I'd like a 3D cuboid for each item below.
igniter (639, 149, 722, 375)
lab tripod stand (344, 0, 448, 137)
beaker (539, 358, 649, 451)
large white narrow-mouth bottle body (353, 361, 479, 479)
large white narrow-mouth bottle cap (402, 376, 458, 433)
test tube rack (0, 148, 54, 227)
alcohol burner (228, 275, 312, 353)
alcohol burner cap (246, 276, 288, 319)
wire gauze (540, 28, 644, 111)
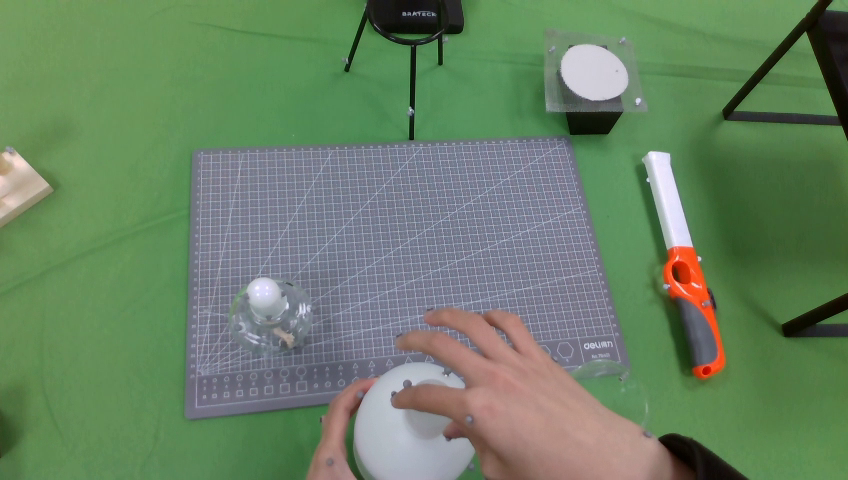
[{"bbox_3d":[0.293,0.017,0.696,0.057,0.025,0.274,3,66,-18],"label":"igniter"},{"bbox_3d":[-0.023,-0.216,0.701,0.149,0.132,0.147,4,66,-8],"label":"lab tripod stand"},{"bbox_3d":[0.152,0.158,0.574,0.084,0.101,0.073,27,65,6],"label":"beaker"},{"bbox_3d":[-0.008,0.155,0.501,0.102,0.196,0.101,3,64,-6],"label":"large white narrow-mouth bottle body"},{"bbox_3d":[0.004,0.113,0.416,0.038,0.024,0.037,3,65,-6],"label":"large white narrow-mouth bottle cap"},{"bbox_3d":[-0.495,-0.014,0.571,0.066,0.085,0.242,41,67,11],"label":"test tube rack"},{"bbox_3d":[-0.144,0.063,0.566,0.078,0.120,0.077,4,64,-8],"label":"alcohol burner"},{"bbox_3d":[-0.140,0.049,0.532,0.034,0.048,0.033,1,71,-4],"label":"alcohol burner cap"},{"bbox_3d":[0.203,-0.208,0.743,0.122,0.011,0.124,3,65,-6],"label":"wire gauze"}]
